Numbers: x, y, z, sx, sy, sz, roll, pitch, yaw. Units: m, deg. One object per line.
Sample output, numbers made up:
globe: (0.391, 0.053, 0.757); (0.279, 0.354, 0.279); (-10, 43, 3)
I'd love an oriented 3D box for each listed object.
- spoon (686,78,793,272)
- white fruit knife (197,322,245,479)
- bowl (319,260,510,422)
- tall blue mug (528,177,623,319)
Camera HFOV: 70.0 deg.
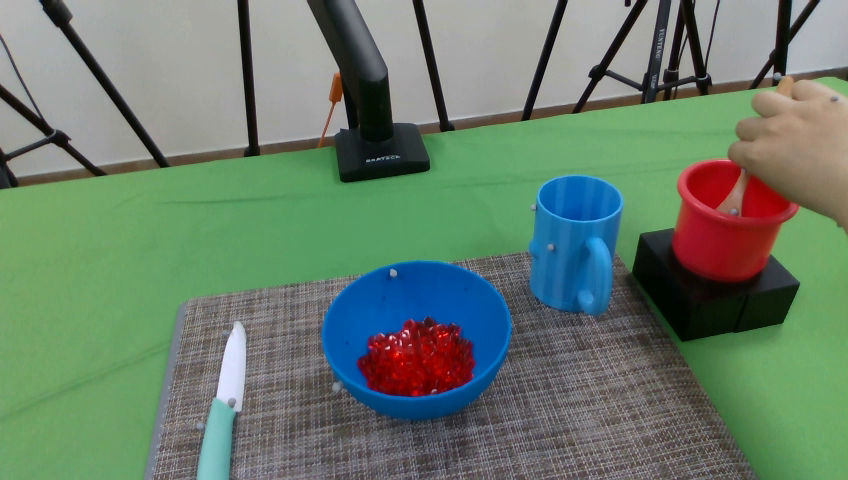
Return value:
spoon: (0.290, -0.059, 0.545); (0.041, 0.022, 0.193); (25, 91, 33)
white fruit knife: (-0.166, 0.142, 0.506); (0.027, 0.016, 0.205); (17, 31, -22)
bowl: (-0.005, 0.095, 0.499); (0.151, 0.077, 0.150); (-2, 39, 2)
tall blue mug: (0.150, 0.013, 0.566); (0.078, 0.109, 0.106); (-26, 44, -27)
